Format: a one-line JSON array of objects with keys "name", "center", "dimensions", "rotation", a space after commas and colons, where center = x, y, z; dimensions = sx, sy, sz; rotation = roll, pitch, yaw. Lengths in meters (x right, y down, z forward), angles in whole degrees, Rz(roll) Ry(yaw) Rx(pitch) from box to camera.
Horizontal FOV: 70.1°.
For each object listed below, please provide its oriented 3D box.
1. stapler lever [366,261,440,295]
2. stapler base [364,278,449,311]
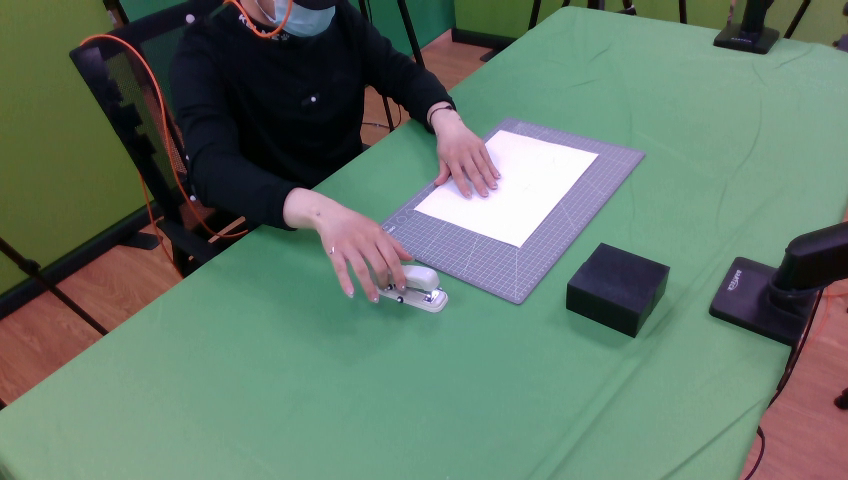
[{"name": "stapler lever", "center": [-0.031, 0.049, 0.878], "dimensions": [0.117, 0.040, 0.027], "rotation": [15, 42, 26]}, {"name": "stapler base", "center": [-0.027, 0.069, 0.893], "dimensions": [0.129, 0.024, 0.041], "rotation": [15, 42, 26]}]
